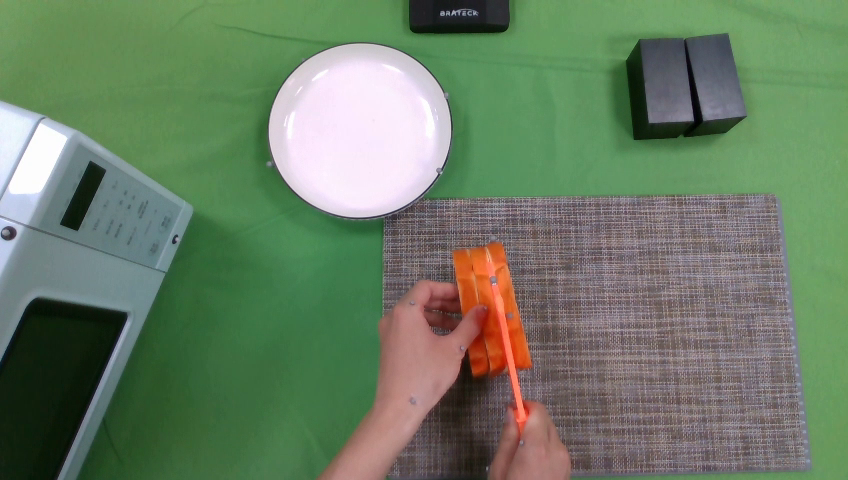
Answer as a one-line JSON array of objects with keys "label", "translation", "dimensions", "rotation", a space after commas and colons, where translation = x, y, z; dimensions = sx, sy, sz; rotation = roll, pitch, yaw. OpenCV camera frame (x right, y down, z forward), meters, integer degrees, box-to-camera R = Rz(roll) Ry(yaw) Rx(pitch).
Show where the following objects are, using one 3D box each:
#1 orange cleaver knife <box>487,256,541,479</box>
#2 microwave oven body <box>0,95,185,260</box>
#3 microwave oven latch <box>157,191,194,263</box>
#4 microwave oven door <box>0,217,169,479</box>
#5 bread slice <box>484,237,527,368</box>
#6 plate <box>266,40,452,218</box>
[{"label": "orange cleaver knife", "translation": [0.081, 0.120, 0.555], "dimensions": [0.012, 0.077, 0.212], "rotation": [-12, 106, 5]}, {"label": "microwave oven body", "translation": [-0.477, 0.080, 0.538], "dimensions": [0.326, 0.261, 0.440], "rotation": [20, 81, 3]}, {"label": "microwave oven latch", "translation": [-0.277, -0.016, 0.653], "dimensions": [0.030, 0.029, 0.079], "rotation": [22, 82, 3]}, {"label": "microwave oven door", "translation": [-0.354, 0.167, 0.518], "dimensions": [0.039, 0.244, 0.355], "rotation": [19, 81, 4]}, {"label": "bread slice", "translation": [0.081, 0.065, 0.619], "dimensions": [0.018, 0.107, 0.133], "rotation": [-9, 79, 0]}, {"label": "plate", "translation": [-0.072, -0.123, 0.690], "dimensions": [0.208, 0.039, 0.207], "rotation": [0, 80, 0]}]
